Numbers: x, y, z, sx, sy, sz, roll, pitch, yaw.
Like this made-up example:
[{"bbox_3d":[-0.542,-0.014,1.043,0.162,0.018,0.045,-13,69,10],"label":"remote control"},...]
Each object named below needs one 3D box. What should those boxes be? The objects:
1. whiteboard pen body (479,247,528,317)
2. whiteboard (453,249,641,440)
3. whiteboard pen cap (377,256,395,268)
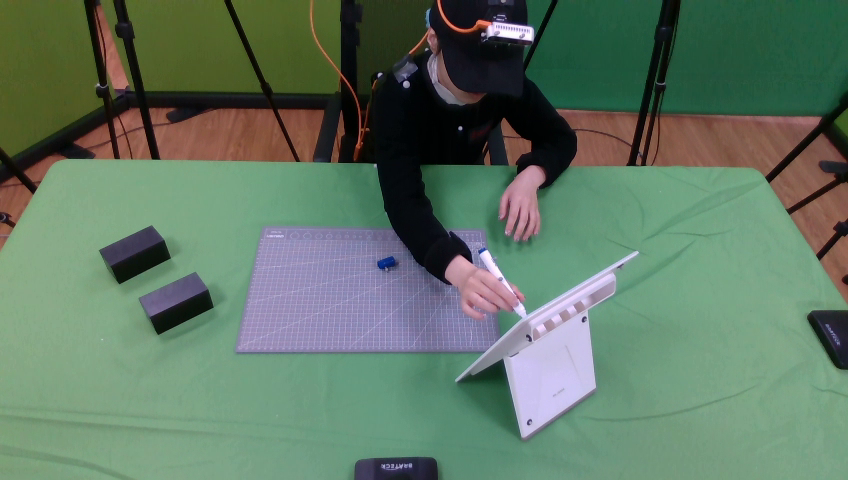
[{"bbox_3d":[0.126,0.071,0.928,0.017,0.017,0.140,-28,80,-26],"label":"whiteboard pen body"},{"bbox_3d":[0.206,0.175,0.889,0.217,0.306,0.143,-25,72,-25],"label":"whiteboard"},{"bbox_3d":[-0.072,0.042,1.149,0.033,0.018,0.018,-19,50,-17],"label":"whiteboard pen cap"}]
